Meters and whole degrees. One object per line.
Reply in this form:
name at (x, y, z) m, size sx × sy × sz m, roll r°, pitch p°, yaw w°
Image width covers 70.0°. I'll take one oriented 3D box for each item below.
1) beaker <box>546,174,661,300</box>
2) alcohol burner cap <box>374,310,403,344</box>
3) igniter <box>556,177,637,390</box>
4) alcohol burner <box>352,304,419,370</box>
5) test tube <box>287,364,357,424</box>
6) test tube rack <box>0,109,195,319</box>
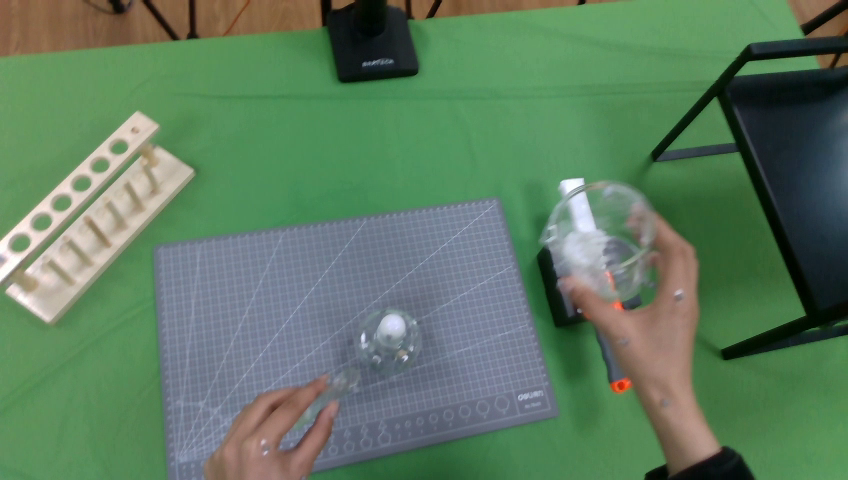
beaker at (0.147, 0.004, 0.494) m, size 0.084 × 0.101 × 0.073 m, roll -11°, pitch 65°, yaw 15°
alcohol burner cap at (-0.037, 0.093, 0.655) m, size 0.034 × 0.048 × 0.033 m, roll 2°, pitch 71°, yaw -6°
igniter at (0.212, 0.046, 0.750) m, size 0.057 × 0.025 × 0.274 m, roll -6°, pitch 68°, yaw -9°
alcohol burner at (-0.042, 0.105, 0.689) m, size 0.078 × 0.119 × 0.077 m, roll 4°, pitch 65°, yaw -8°
test tube at (-0.097, 0.143, 0.554) m, size 0.017 × 0.150 × 0.017 m, roll 16°, pitch 54°, yaw -24°
test tube rack at (-0.385, -0.032, 0.708) m, size 0.066 × 0.085 × 0.241 m, roll 33°, pitch 68°, yaw 6°
